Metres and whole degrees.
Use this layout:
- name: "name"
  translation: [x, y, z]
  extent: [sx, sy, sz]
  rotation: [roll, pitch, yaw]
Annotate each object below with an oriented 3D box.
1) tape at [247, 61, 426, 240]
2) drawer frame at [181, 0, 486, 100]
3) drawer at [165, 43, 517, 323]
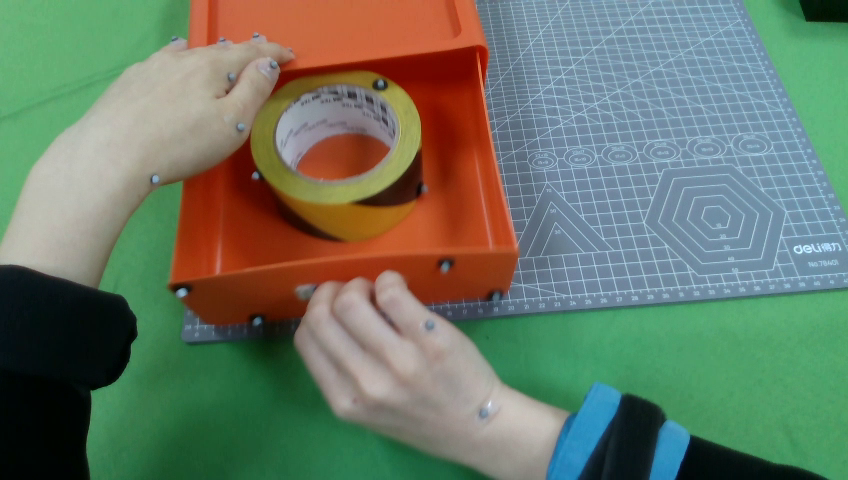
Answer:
- name: "tape"
  translation: [-0.056, -0.061, 0.412]
  extent: [0.117, 0.053, 0.116]
  rotation: [0, 64, 1]
- name: "drawer frame"
  translation: [-0.072, -0.187, 0.468]
  extent: [0.202, 0.083, 0.211]
  rotation: [-9, 62, -3]
- name: "drawer"
  translation: [-0.054, -0.059, 0.405]
  extent: [0.194, 0.074, 0.210]
  rotation: [-6, 62, -1]
